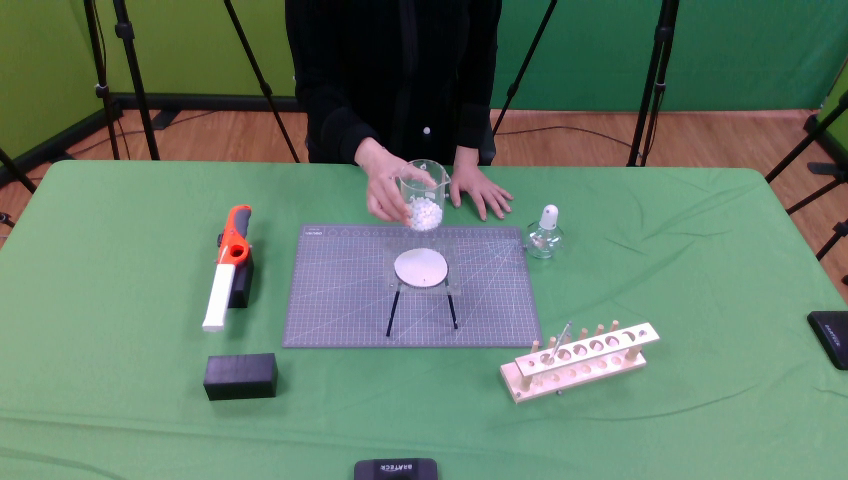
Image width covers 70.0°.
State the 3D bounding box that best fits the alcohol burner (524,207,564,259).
[{"bbox_3d":[0.236,-0.020,1.174,0.078,0.120,0.077,1,48,-1],"label":"alcohol burner"}]

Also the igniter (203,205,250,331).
[{"bbox_3d":[-0.345,0.039,1.065,0.057,0.025,0.274,2,49,-6],"label":"igniter"}]

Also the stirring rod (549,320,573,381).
[{"bbox_3d":[0.202,0.167,0.901,0.006,0.177,0.014,-17,55,-11],"label":"stirring rod"}]

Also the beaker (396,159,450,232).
[{"bbox_3d":[-0.001,-0.069,0.976,0.084,0.101,0.073,7,48,6],"label":"beaker"}]

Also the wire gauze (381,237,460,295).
[{"bbox_3d":[-0.007,0.040,0.983,0.125,0.011,0.120,1,44,-4],"label":"wire gauze"}]

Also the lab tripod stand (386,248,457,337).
[{"bbox_3d":[-0.010,0.087,1.032,0.148,0.132,0.147,1,45,-1],"label":"lab tripod stand"}]

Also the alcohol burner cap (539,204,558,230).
[{"bbox_3d":[0.239,-0.045,1.148,0.034,0.048,0.033,2,43,-1],"label":"alcohol burner cap"}]

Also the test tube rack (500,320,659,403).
[{"bbox_3d":[0.252,0.187,0.994,0.243,0.085,0.066,-12,48,-15],"label":"test tube rack"}]
